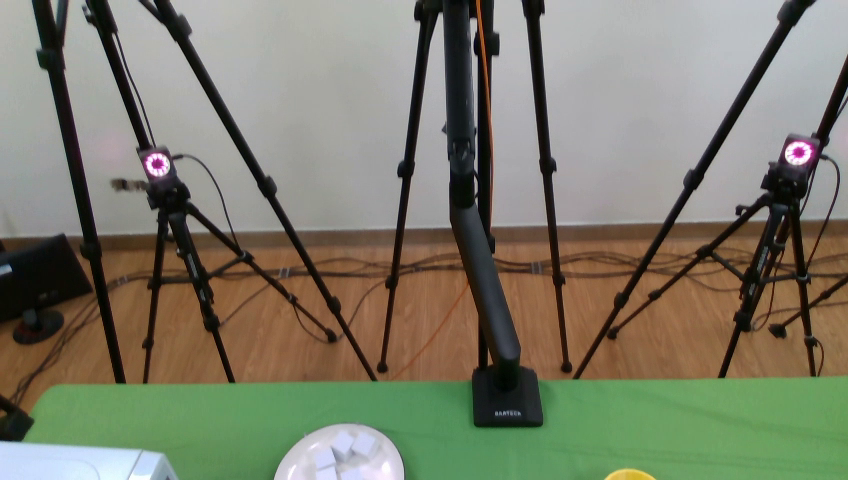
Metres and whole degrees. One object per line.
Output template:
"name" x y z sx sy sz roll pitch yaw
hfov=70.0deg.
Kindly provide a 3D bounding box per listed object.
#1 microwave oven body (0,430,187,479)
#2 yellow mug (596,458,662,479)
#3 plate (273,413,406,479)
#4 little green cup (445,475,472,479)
"microwave oven body" -0.494 0.472 0.676 0.326 0.262 0.437 2 41 5
"yellow mug" 0.286 0.383 0.898 0.130 0.064 0.099 6 40 12
"plate" -0.131 0.372 0.959 0.207 0.039 0.205 -2 39 2
"little green cup" 0.052 0.394 0.920 0.061 0.039 0.061 -2 39 2
